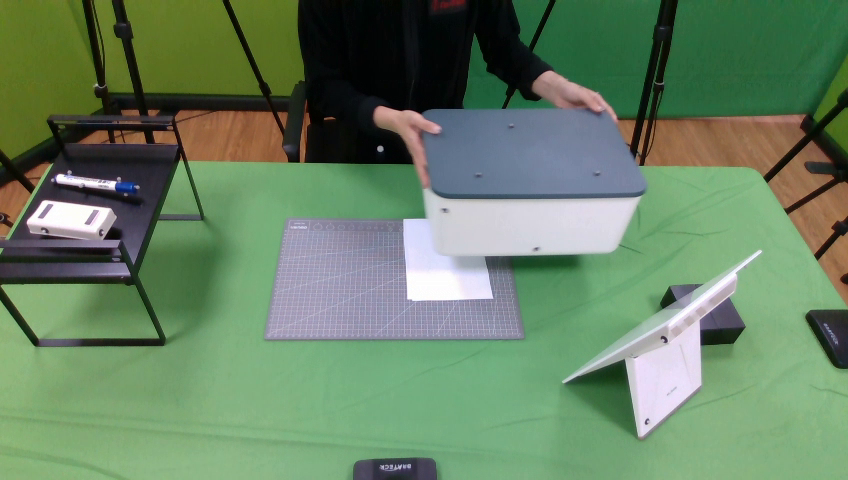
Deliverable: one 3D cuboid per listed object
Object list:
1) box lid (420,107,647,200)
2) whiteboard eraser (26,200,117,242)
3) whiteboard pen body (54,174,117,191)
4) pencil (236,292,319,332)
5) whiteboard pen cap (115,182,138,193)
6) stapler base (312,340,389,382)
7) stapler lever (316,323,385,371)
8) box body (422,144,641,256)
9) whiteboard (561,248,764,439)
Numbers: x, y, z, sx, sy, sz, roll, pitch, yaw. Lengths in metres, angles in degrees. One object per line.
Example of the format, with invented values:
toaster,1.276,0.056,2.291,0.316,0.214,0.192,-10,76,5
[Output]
box lid,0.185,-0.160,1.073,0.372,0.015,0.261,-1,44,-5
whiteboard eraser,-0.532,-0.026,0.919,0.113,0.042,0.055,7,45,3
whiteboard pen body,-0.541,-0.093,0.993,0.140,0.017,0.017,7,46,8
pencil,-0.244,0.131,1.056,0.194,0.012,0.012,22,49,12
whiteboard pen cap,-0.483,-0.086,0.984,0.033,0.018,0.018,7,46,10
stapler base,-0.123,0.189,0.997,0.130,0.024,0.041,20,49,16
stapler lever,-0.120,0.171,0.979,0.118,0.040,0.027,21,49,14
box body,0.180,-0.105,1.124,0.364,0.161,0.252,-1,43,-6
whiteboard,0.386,0.176,0.905,0.217,0.306,0.143,-26,72,-27
